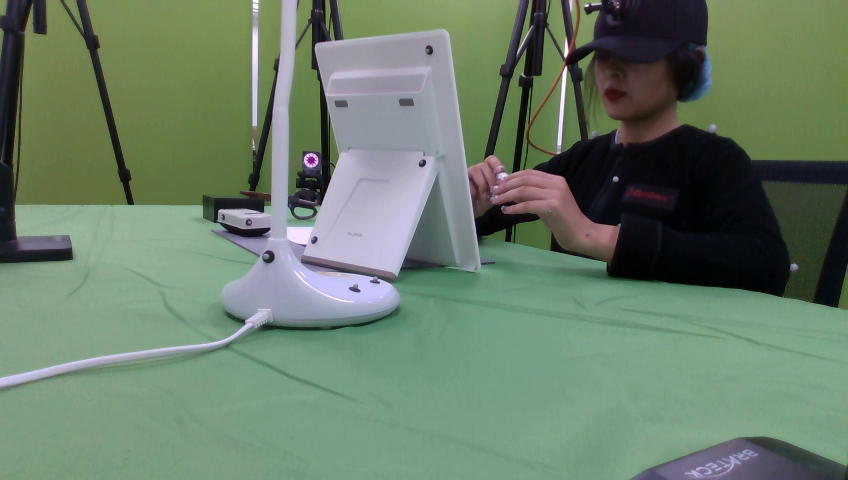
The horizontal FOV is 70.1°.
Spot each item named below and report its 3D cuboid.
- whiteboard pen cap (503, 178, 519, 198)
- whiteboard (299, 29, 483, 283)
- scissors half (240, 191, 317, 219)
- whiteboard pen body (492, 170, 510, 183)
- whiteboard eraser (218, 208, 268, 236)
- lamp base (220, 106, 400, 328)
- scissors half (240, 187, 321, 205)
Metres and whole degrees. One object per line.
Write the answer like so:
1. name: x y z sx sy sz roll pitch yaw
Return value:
1. whiteboard pen cap: 0.123 -0.075 0.865 0.018 0.018 0.033 0 40 -15
2. whiteboard: -0.074 -0.082 0.742 0.216 0.305 0.144 9 29 38
3. scissors half: -0.317 -0.079 1.326 0.176 0.040 0.013 18 15 -31
4. whiteboard pen body: 0.121 -0.099 0.946 0.017 0.017 0.140 2 9 0
5. whiteboard eraser: -0.309 -0.031 1.044 0.056 0.042 0.112 -2 9 -40
6. lamp base: -0.101 -0.023 0.531 0.160 0.180 0.179 4 10 10
7. scissors half: -0.311 -0.097 1.319 0.176 0.040 0.012 -1 30 -25
